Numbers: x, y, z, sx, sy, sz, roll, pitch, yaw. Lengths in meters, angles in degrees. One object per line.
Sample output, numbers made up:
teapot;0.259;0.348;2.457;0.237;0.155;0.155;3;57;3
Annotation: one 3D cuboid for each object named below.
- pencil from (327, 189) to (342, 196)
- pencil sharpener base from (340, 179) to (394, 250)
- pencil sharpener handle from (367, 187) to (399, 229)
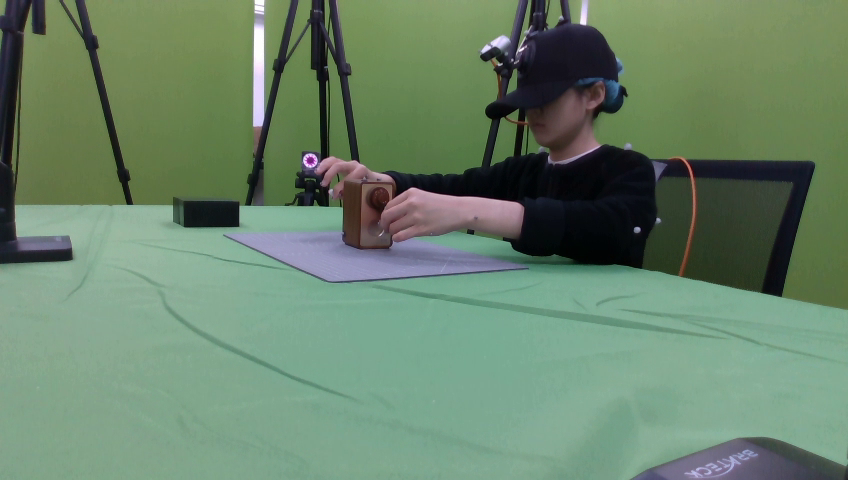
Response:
pencil;-0.129;-0.077;1.028;0.012;0.012;0.193;-1;8;-29
pencil sharpener base;-0.090;-0.041;0.959;0.061;0.107;0.076;-1;9;-30
pencil sharpener handle;-0.058;-0.048;0.917;0.036;0.068;0.030;-30;22;-22
